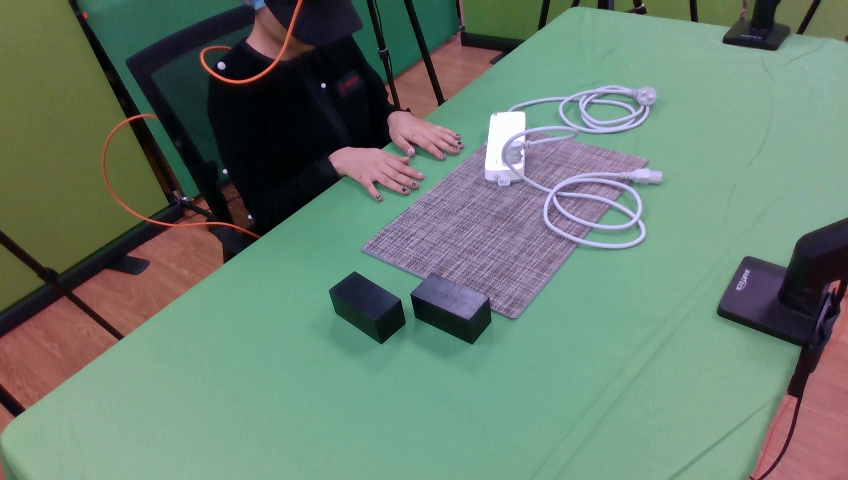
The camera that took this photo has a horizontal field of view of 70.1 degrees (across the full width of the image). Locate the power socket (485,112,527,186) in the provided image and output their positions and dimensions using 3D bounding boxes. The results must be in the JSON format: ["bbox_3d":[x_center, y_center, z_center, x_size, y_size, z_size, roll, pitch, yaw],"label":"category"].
[{"bbox_3d":[0.159,-0.181,1.153,0.072,0.033,0.226,0,40,11],"label":"power socket"}]

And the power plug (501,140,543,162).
[{"bbox_3d":[0.174,-0.150,1.078,0.072,0.053,0.035,6,42,20],"label":"power plug"}]
